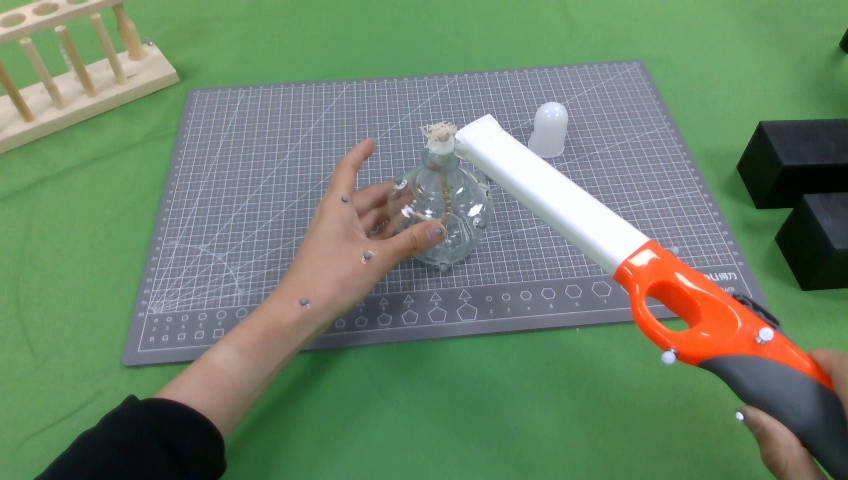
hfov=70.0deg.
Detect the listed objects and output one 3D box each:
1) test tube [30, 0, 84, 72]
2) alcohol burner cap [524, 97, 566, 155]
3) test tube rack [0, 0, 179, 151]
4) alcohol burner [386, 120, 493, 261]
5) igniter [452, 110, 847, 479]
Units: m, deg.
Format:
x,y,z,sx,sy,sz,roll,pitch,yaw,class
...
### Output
x,y,z,sx,sy,sz,roll,pitch,yaw,class
-0.337,-0.217,0.527,0.017,0.152,0.017,-4,43,4,test tube
0.106,-0.101,0.520,0.034,0.048,0.033,1,51,0,alcohol burner cap
-0.360,-0.149,0.541,0.242,0.086,0.066,-30,57,-21,test tube rack
0.011,-0.039,0.427,0.078,0.120,0.077,1,52,0,alcohol burner
0.117,0.016,0.320,0.057,0.025,0.274,-34,63,-25,igniter
